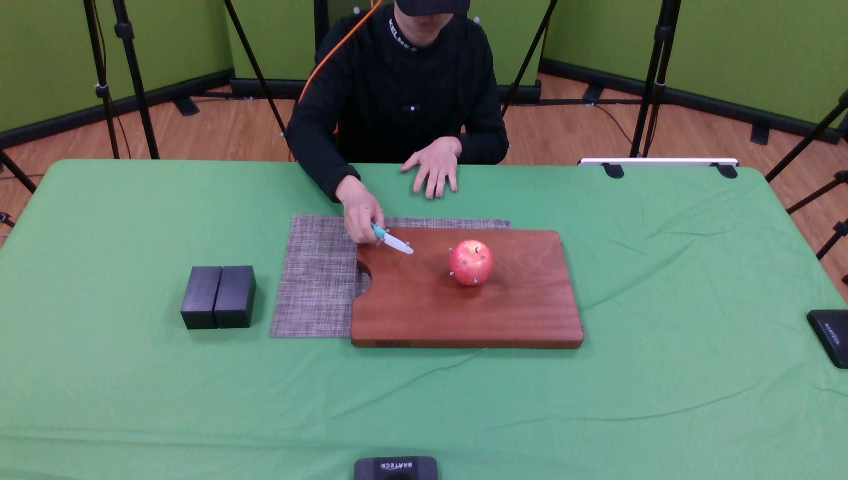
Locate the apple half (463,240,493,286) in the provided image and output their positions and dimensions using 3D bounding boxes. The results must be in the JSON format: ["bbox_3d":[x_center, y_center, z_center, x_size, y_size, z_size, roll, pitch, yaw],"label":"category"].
[{"bbox_3d":[0.097,0.042,1.093,0.053,0.075,0.080,-3,42,-13],"label":"apple half"}]

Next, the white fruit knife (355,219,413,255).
[{"bbox_3d":[-0.073,-0.007,1.085,0.016,0.027,0.206,-21,26,-28],"label":"white fruit knife"}]

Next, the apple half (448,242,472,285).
[{"bbox_3d":[0.059,0.046,1.085,0.033,0.081,0.080,-4,46,-13],"label":"apple half"}]
